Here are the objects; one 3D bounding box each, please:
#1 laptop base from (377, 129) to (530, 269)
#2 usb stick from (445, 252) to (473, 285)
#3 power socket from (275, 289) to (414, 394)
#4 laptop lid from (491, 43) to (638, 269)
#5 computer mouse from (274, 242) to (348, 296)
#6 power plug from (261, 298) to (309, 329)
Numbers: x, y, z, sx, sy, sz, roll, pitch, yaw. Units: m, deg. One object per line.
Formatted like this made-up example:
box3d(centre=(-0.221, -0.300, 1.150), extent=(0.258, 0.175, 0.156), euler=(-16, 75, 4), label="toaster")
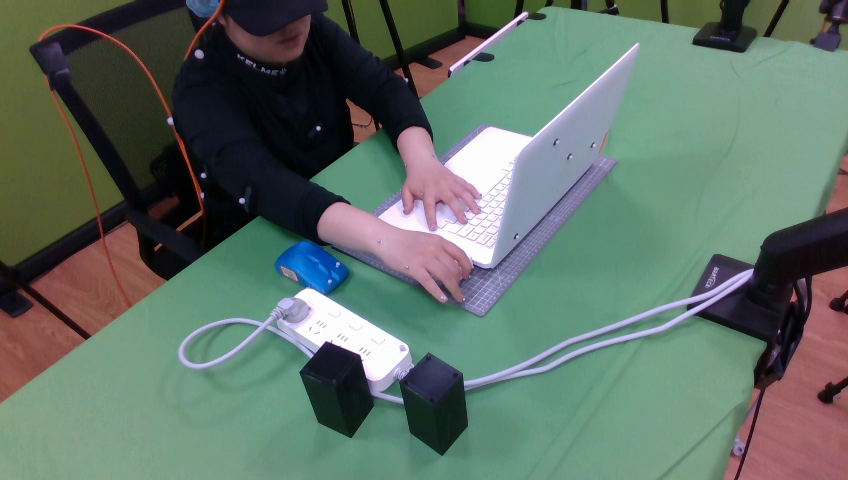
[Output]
box3d(centre=(0.116, -0.086, 1.058), extent=(0.233, 0.023, 0.355), euler=(20, 47, 34), label="laptop base")
box3d(centre=(0.057, 0.038, 0.899), extent=(0.021, 0.027, 0.059), euler=(25, 46, 28), label="usb stick")
box3d(centre=(-0.115, 0.133, 0.820), extent=(0.225, 0.033, 0.072), euler=(25, 49, 32), label="power socket")
box3d(centre=(0.215, -0.128, 0.910), extent=(0.013, 0.242, 0.358), euler=(32, 51, 22), label="laptop lid")
box3d(centre=(-0.176, 0.041, 0.935), extent=(0.116, 0.041, 0.063), euler=(26, 49, 28), label="computer mouse")
box3d(centre=(-0.192, 0.108, 0.830), extent=(0.073, 0.053, 0.035), euler=(-33, 43, -25), label="power plug")
